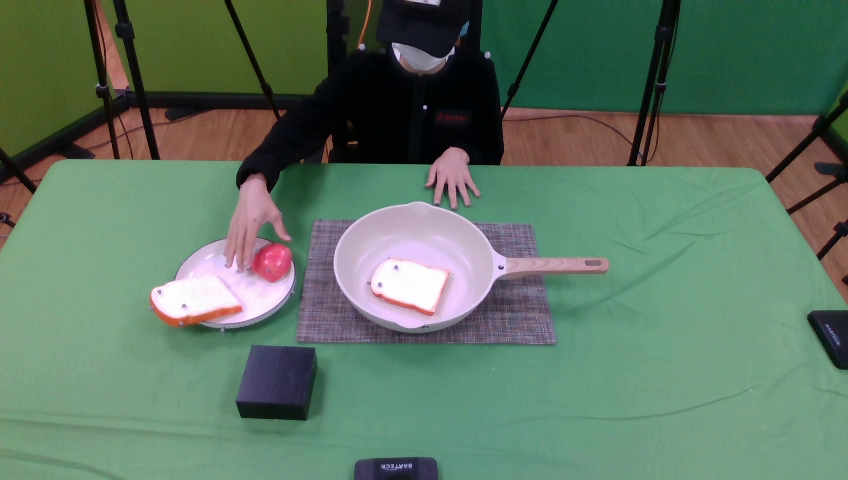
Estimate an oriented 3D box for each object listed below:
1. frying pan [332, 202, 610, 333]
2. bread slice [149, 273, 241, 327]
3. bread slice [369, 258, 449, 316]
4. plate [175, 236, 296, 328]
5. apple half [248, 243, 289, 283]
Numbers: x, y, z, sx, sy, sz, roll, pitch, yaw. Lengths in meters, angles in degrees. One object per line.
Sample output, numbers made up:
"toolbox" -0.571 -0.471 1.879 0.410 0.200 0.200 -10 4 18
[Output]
"frying pan" 0.085 0.052 1.093 0.488 0.103 0.305 -1 46 6
"bread slice" -0.393 0.101 1.029 0.132 0.019 0.104 -14 44 -45
"bread slice" -0.032 0.083 1.107 0.134 0.018 0.106 13 45 8
"plate" -0.335 0.077 1.087 0.208 0.039 0.206 2 46 -2
"apple half" -0.287 0.035 1.106 0.081 0.033 0.081 -5 65 10
